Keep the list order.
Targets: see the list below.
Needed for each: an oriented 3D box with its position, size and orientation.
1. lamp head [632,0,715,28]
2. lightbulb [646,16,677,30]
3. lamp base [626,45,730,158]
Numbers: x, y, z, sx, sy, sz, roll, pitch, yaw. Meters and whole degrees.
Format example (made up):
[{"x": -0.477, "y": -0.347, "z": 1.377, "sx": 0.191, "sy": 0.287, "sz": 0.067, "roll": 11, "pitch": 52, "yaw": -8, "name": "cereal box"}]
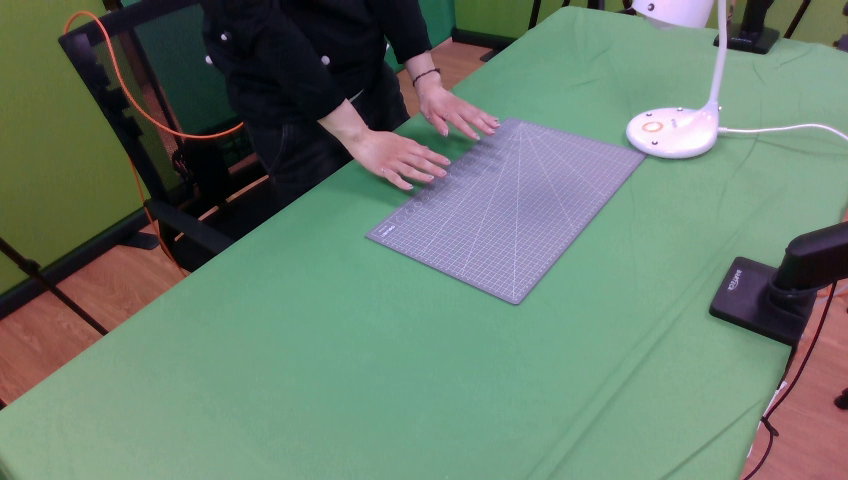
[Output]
[{"x": 0.376, "y": -0.379, "z": 0.868, "sx": 0.113, "sy": 0.123, "sz": 0.112, "roll": 13, "pitch": 31, "yaw": -7, "name": "lamp head"}, {"x": 0.364, "y": -0.362, "z": 0.883, "sx": 0.060, "sy": 0.108, "sz": 0.059, "roll": 9, "pitch": 40, "yaw": -7, "name": "lightbulb"}, {"x": 0.467, "y": -0.262, "z": 1.086, "sx": 0.179, "sy": 0.181, "sz": 0.159, "roll": -4, "pitch": 41, "yaw": 0, "name": "lamp base"}]
